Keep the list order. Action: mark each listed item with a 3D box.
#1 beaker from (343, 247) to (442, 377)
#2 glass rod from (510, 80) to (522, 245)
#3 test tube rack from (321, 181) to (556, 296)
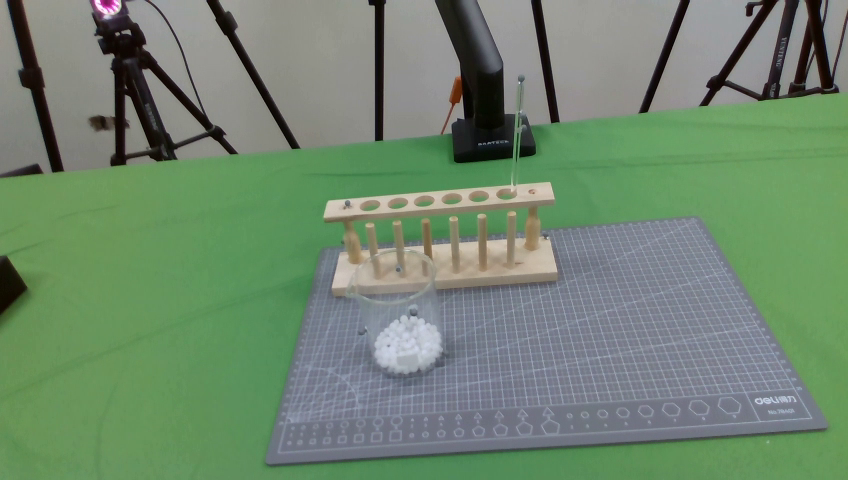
[{"bbox_3d":[-0.024,0.069,0.552,0.084,0.101,0.073,-17,37,-11],"label":"beaker"},{"bbox_3d":[0.092,-0.067,0.615,0.008,0.201,0.008,-2,39,2],"label":"glass rod"},{"bbox_3d":[0.016,0.000,0.652,0.242,0.086,0.066,-4,36,4],"label":"test tube rack"}]
